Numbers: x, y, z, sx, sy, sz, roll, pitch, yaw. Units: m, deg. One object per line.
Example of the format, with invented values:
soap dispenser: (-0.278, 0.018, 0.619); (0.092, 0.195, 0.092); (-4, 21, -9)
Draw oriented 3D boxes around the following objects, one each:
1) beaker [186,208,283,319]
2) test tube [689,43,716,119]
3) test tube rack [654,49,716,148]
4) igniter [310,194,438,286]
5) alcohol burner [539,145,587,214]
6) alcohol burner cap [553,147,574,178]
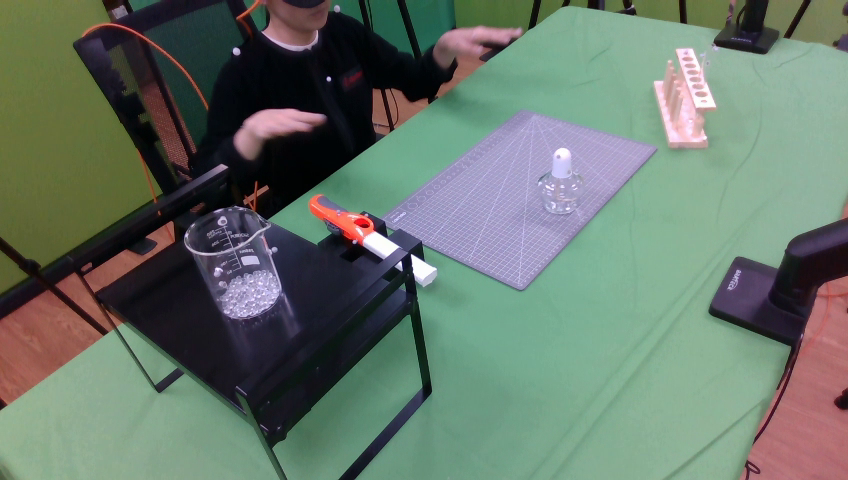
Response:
beaker: (-0.192, 0.026, 0.637); (0.084, 0.101, 0.073); (-13, 41, -7)
test tube: (0.509, -0.287, 1.107); (0.017, 0.151, 0.017); (-3, 44, 3)
test tube rack: (0.502, -0.281, 1.176); (0.066, 0.085, 0.241); (1, 41, 11)
igniter: (-0.087, -0.007, 0.921); (0.274, 0.025, 0.057); (31, 51, 34)
alcohol burner: (0.226, -0.102, 0.986); (0.078, 0.119, 0.077); (-6, 41, 6)
alcohol burner cap: (0.224, -0.125, 0.965); (0.034, 0.048, 0.033); (-5, 44, 5)
